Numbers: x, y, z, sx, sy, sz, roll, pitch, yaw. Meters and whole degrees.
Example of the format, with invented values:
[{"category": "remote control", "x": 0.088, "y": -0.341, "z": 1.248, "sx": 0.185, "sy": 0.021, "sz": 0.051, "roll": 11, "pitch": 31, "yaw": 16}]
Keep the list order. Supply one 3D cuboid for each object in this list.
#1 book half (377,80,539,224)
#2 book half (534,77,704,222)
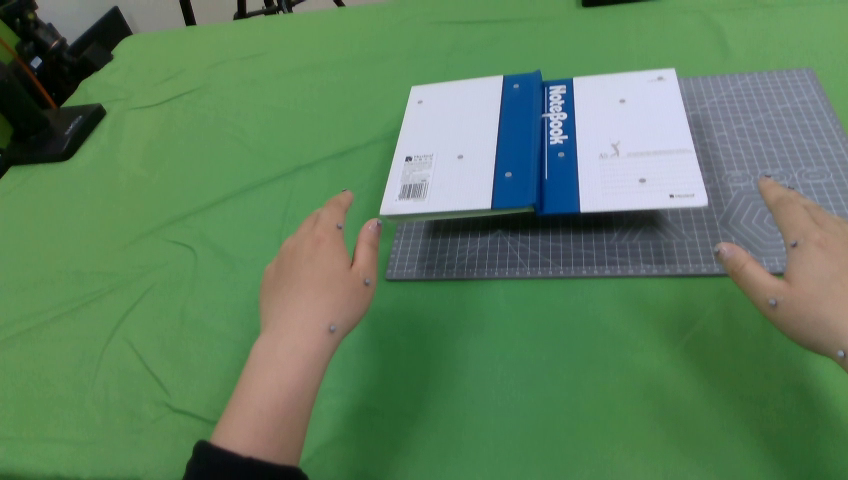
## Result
[{"category": "book half", "x": 0.041, "y": -0.094, "z": 0.620, "sx": 0.148, "sy": 0.016, "sz": 0.208, "roll": -3, "pitch": 47, "yaw": 14}, {"category": "book half", "x": 0.182, "y": -0.094, "z": 0.594, "sx": 0.143, "sy": 0.007, "sz": 0.208, "roll": -2, "pitch": 46, "yaw": 13}]
